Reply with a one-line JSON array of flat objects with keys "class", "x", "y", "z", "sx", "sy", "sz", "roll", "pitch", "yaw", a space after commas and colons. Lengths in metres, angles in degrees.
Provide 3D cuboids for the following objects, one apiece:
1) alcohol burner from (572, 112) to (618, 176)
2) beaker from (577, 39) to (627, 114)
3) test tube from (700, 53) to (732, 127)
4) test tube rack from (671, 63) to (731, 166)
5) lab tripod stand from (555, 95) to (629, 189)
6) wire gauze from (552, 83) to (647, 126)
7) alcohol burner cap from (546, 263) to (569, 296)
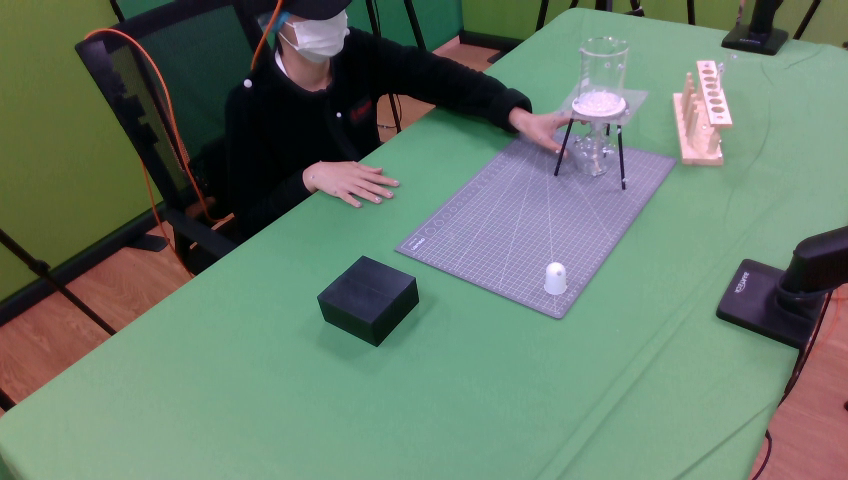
[{"class": "alcohol burner", "x": 0.301, "y": -0.173, "z": 1.058, "sx": 0.078, "sy": 0.119, "sz": 0.077, "roll": -4, "pitch": 41, "yaw": 4}, {"class": "beaker", "x": 0.286, "y": -0.264, "z": 0.976, "sx": 0.073, "sy": 0.101, "sz": 0.084, "roll": 25, "pitch": 49, "yaw": 33}, {"class": "test tube", "x": 0.521, "y": -0.265, "z": 1.081, "sx": 0.017, "sy": 0.151, "sz": 0.017, "roll": -3, "pitch": 47, "yaw": 3}, {"class": "test tube rack", "x": 0.513, "y": -0.241, "z": 1.132, "sx": 0.066, "sy": 0.085, "sz": 0.242, "roll": 4, "pitch": 41, "yaw": 14}, {"class": "lab tripod stand", "x": 0.300, "y": -0.174, "z": 1.045, "sx": 0.148, "sy": 0.132, "sz": 0.147, "roll": -5, "pitch": 38, "yaw": 5}, {"class": "wire gauze", "x": 0.293, "y": -0.224, "z": 1.004, "sx": 0.120, "sy": 0.011, "sz": 0.125, "roll": 19, "pitch": 43, "yaw": 26}, {"class": "alcohol burner cap", "x": 0.191, "y": 0.053, "z": 0.862, "sx": 0.034, "sy": 0.048, "sz": 0.033, "roll": -5, "pitch": 40, "yaw": 4}]
